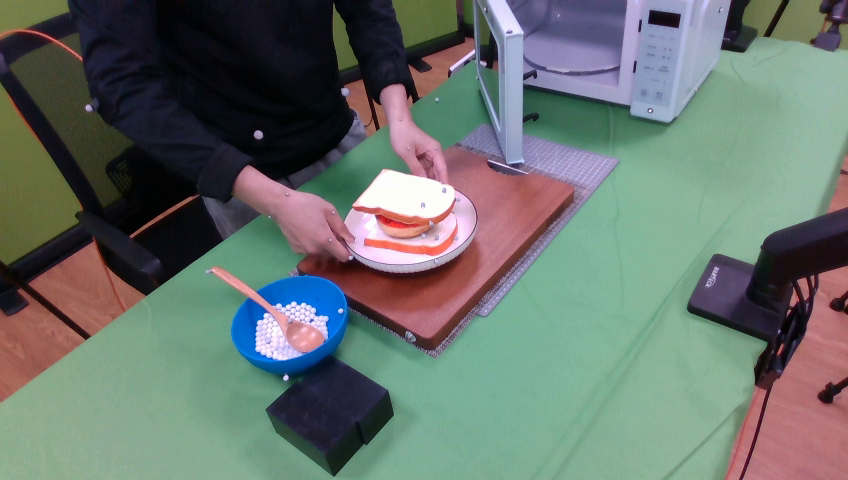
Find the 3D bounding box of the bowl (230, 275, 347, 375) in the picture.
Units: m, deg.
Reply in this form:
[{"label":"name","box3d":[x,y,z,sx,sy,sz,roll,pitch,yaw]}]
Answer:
[{"label":"bowl","box3d":[-0.171,0.126,0.802,0.151,0.077,0.150,-4,40,4]}]

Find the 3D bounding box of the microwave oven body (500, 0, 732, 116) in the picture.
[{"label":"microwave oven body","box3d":[0.377,-0.462,1.267,0.438,0.261,0.327,21,49,30]}]

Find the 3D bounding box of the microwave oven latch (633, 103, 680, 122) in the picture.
[{"label":"microwave oven latch","box3d":[0.444,-0.249,1.157,0.078,0.029,0.030,21,49,30]}]

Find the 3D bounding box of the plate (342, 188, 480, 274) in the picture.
[{"label":"plate","box3d":[-0.018,-0.016,0.920,0.207,0.039,0.206,-4,39,4]}]

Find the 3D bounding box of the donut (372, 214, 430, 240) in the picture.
[{"label":"donut","box3d":[-0.028,-0.040,0.906,0.099,0.048,0.098,-11,41,10]}]

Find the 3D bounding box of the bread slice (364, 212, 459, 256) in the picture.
[{"label":"bread slice","box3d":[-0.013,-0.019,0.925,0.131,0.019,0.105,9,43,21]}]

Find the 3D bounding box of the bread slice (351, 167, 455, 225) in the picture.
[{"label":"bread slice","box3d":[-0.023,-0.063,0.885,0.134,0.018,0.107,13,42,13]}]

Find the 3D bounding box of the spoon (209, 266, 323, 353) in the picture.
[{"label":"spoon","box3d":[-0.213,0.087,0.806,0.193,0.021,0.042,36,56,11]}]

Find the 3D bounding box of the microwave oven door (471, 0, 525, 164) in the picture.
[{"label":"microwave oven door","box3d":[0.137,-0.342,1.153,0.039,0.245,0.353,-8,40,-1]}]
